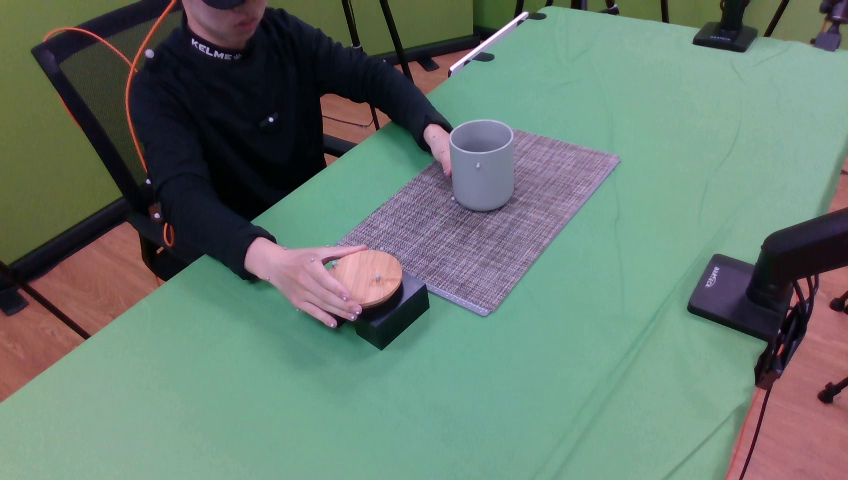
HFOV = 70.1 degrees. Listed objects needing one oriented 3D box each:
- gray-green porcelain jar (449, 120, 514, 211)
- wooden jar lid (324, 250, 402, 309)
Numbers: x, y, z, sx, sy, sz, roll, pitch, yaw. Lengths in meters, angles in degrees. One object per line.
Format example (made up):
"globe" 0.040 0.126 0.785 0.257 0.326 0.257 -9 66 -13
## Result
"gray-green porcelain jar" 0.097 -0.120 1.008 0.106 0.127 0.105 -4 41 4
"wooden jar lid" -0.083 0.057 0.839 0.108 0.021 0.108 -4 39 4
